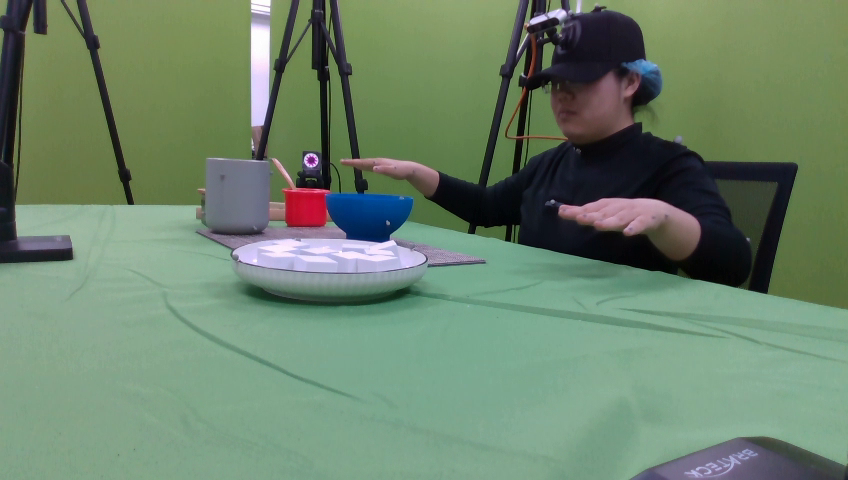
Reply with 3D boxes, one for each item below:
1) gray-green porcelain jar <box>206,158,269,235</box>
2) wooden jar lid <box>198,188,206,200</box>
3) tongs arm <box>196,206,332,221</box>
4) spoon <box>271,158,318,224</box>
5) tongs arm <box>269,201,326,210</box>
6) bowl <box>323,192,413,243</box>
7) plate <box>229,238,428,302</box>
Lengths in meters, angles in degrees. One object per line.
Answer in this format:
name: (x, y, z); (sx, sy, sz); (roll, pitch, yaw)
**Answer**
gray-green porcelain jar: (-0.322, -0.076, 1.048); (0.106, 0.126, 0.106); (3, 7, 0)
wooden jar lid: (-0.382, -0.088, 1.175); (0.108, 0.020, 0.108); (3, 8, 0)
tongs arm: (-0.294, -0.057, 1.330); (0.389, 0.028, 0.028); (0, 6, -19)
spoon: (-0.268, -0.103, 1.236); (0.042, 0.021, 0.193); (-9, 58, -40)
tongs arm: (-0.308, -0.072, 1.410); (0.385, 0.026, 0.050); (3, 8, -6)
bowl: (-0.094, -0.037, 1.015); (0.151, 0.077, 0.151); (3, 7, 0)
plate: (-0.099, 0.032, 0.651); (0.209, 0.038, 0.209); (3, 8, 0)
